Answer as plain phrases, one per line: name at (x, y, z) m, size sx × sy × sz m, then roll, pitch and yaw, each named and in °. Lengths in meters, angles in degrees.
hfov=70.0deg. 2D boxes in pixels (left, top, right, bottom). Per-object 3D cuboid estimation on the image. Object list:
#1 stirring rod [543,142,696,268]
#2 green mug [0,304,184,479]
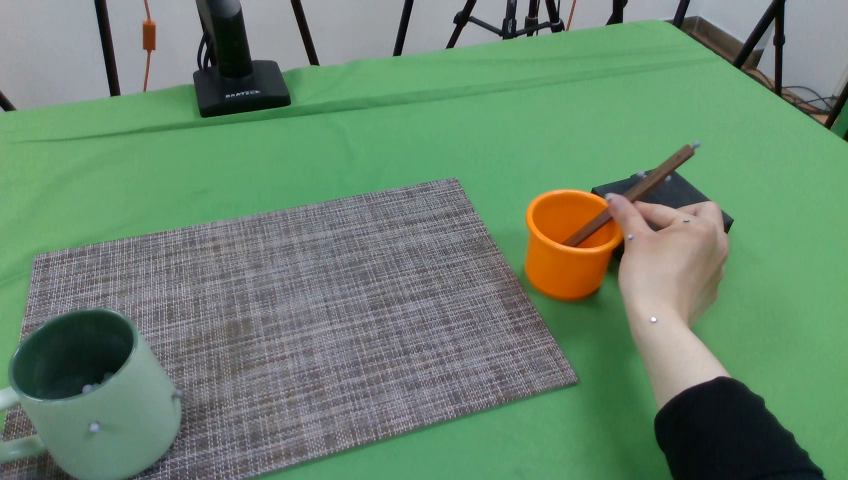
stirring rod at (0.177, -0.029, 0.564) m, size 0.006 × 0.176 × 0.014 m, roll 25°, pitch 35°, yaw -32°
green mug at (-0.244, 0.115, 0.427) m, size 0.125 × 0.106 × 0.091 m, roll -21°, pitch 48°, yaw -22°
